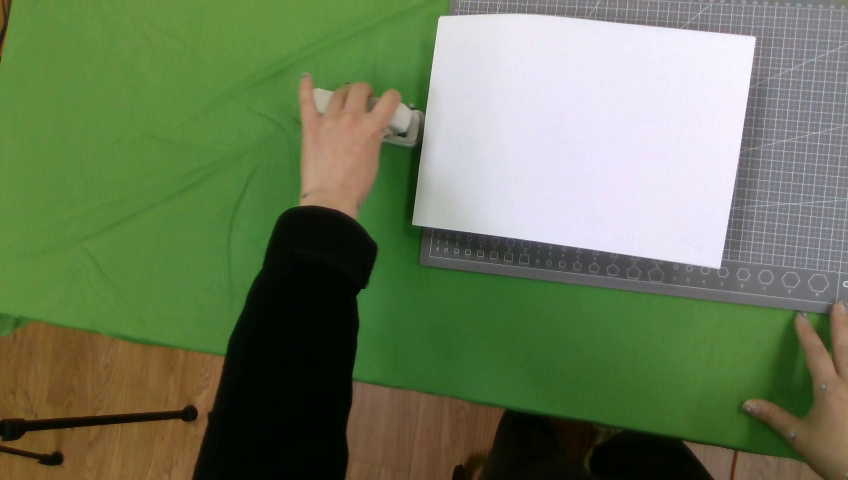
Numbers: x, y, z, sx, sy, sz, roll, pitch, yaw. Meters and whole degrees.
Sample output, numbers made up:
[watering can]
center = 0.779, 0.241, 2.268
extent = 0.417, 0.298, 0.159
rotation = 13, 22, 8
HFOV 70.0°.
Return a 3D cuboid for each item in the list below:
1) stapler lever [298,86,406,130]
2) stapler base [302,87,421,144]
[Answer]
[stapler lever]
center = -0.076, -0.135, 0.615
extent = 0.118, 0.040, 0.027
rotation = 13, 87, 11
[stapler base]
center = -0.069, -0.134, 0.640
extent = 0.130, 0.024, 0.041
rotation = 14, 87, 11
